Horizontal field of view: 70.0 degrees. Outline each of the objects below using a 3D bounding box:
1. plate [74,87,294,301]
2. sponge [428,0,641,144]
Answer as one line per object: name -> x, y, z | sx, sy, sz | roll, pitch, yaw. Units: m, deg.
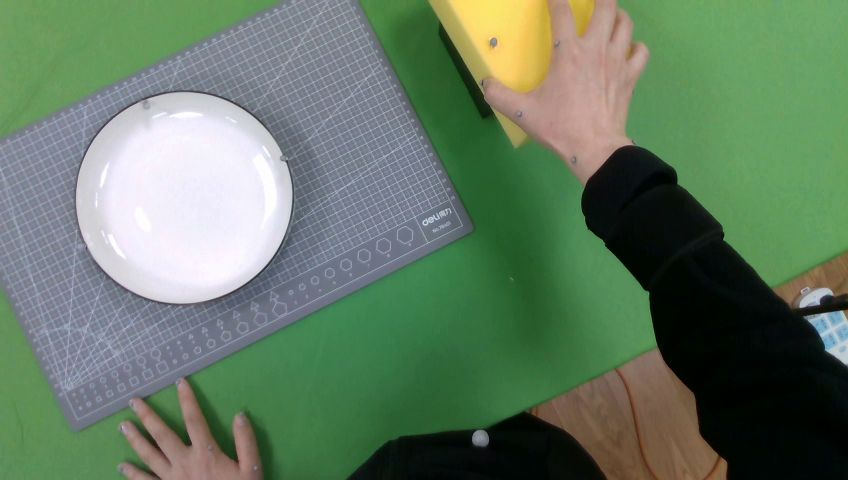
plate -> -0.230, -0.044, 0.596 | 0.209, 0.038, 0.209 | 0, 88, -2
sponge -> 0.085, -0.207, 0.545 | 0.118, 0.061, 0.206 | -31, 89, -2
